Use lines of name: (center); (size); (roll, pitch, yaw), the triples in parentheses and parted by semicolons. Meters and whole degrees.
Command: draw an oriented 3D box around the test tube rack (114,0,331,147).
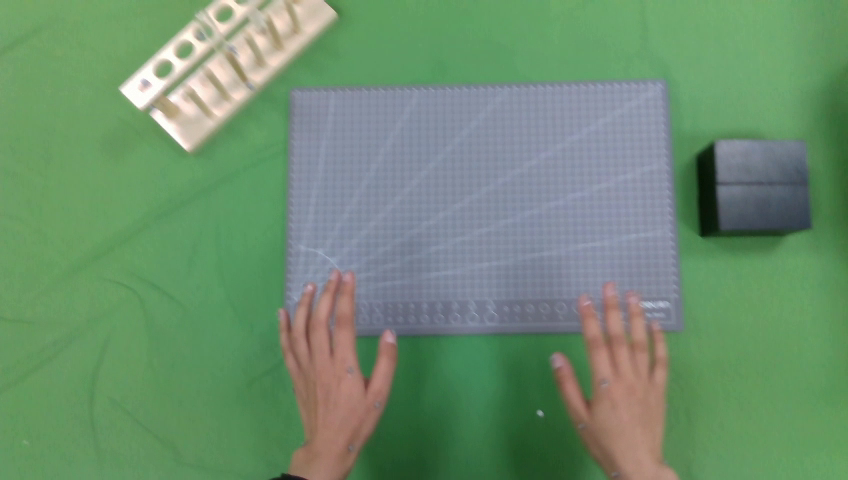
test tube rack: (-0.221, -0.224, 0.690); (0.066, 0.085, 0.242); (44, 84, 7)

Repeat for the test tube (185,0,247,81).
test tube: (-0.218, -0.209, 0.643); (0.017, 0.151, 0.017); (0, 78, 1)

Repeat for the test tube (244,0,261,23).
test tube: (-0.204, -0.278, 0.648); (0.017, 0.151, 0.017); (-1, 78, 5)
